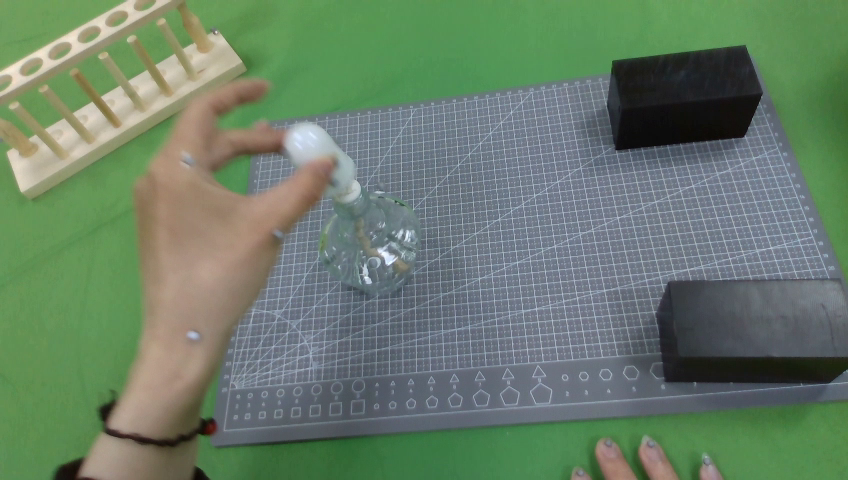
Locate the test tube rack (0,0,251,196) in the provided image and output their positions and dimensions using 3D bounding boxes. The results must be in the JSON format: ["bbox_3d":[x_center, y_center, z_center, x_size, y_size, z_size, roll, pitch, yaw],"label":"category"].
[{"bbox_3d":[-0.301,-0.150,0.583,0.242,0.086,0.066,-34,60,-9],"label":"test tube rack"}]

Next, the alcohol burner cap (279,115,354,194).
[{"bbox_3d":[-0.067,-0.053,0.363,0.034,0.048,0.033,-13,54,19],"label":"alcohol burner cap"}]

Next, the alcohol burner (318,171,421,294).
[{"bbox_3d":[-0.043,-0.010,0.434,0.078,0.120,0.077,-5,58,9],"label":"alcohol burner"}]
